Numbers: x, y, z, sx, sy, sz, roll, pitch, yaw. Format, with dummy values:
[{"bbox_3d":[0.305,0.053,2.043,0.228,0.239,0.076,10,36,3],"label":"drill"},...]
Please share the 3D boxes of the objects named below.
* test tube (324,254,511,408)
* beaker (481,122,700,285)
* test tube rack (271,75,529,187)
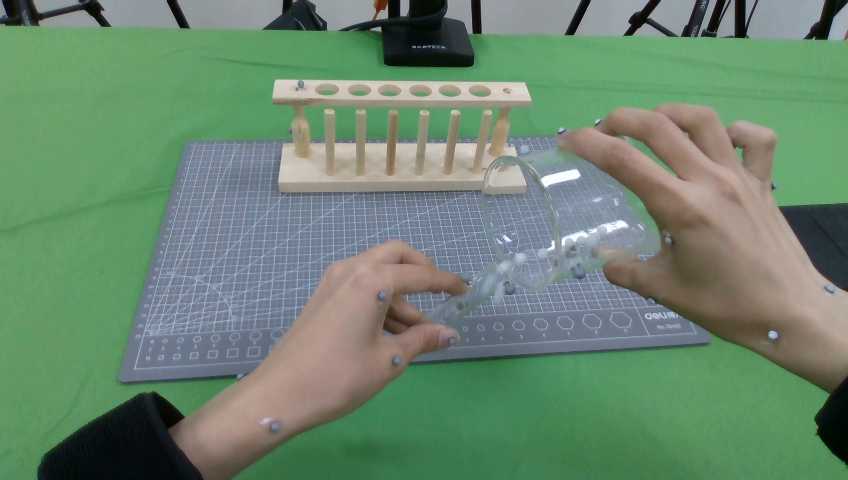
[{"bbox_3d":[-0.008,0.059,0.373,0.150,0.017,0.017,-40,45,17],"label":"test tube"},{"bbox_3d":[0.092,-0.022,0.338,0.100,0.084,0.073,-15,59,-20],"label":"beaker"},{"bbox_3d":[-0.022,-0.106,0.593,0.243,0.086,0.066,-1,44,-7],"label":"test tube rack"}]
